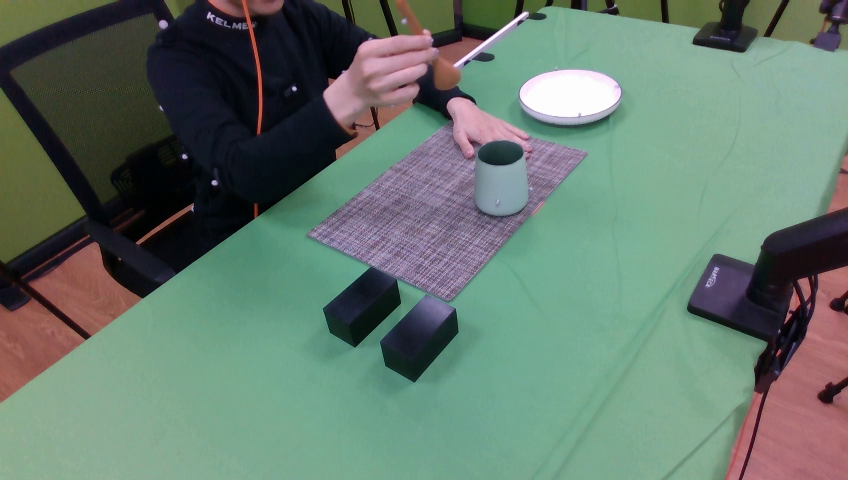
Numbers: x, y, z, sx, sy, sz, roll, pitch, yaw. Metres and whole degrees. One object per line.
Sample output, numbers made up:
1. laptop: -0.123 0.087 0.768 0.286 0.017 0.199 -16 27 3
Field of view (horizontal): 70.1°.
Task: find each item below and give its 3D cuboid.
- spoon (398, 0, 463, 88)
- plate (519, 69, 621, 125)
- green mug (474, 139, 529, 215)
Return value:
1. spoon: 0.008 -0.251 0.788 0.041 0.195 0.021 -28 61 13
2. plate: 0.300 -0.293 1.253 0.209 0.038 0.208 -4 41 4
3. green mug: 0.126 -0.113 1.013 0.092 0.105 0.124 -8 41 0
